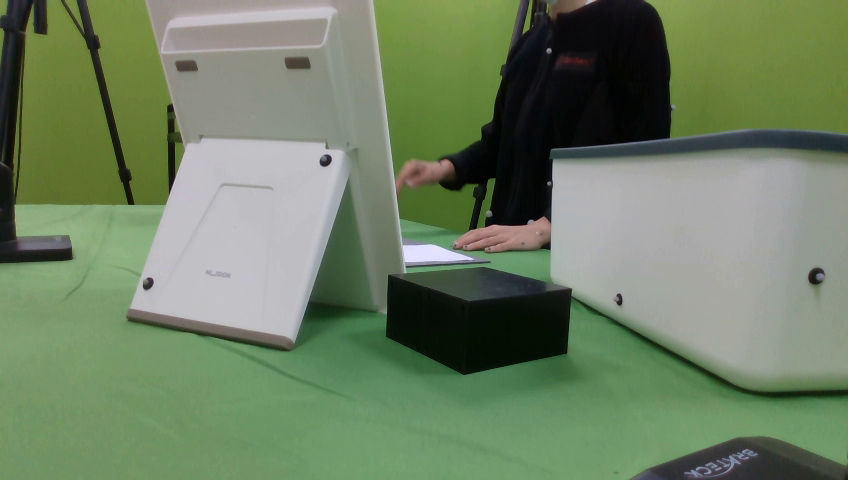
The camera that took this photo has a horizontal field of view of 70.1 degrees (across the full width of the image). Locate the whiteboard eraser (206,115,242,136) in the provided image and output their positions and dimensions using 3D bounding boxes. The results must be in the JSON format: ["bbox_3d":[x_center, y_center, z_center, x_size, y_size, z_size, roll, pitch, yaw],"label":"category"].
[{"bbox_3d":[-0.438,-0.249,1.320,0.056,0.042,0.112,-3,9,-30],"label":"whiteboard eraser"}]

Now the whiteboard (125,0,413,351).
[{"bbox_3d":[-0.151,-0.050,0.471,0.216,0.305,0.144,6,27,24],"label":"whiteboard"}]

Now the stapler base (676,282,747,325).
[{"bbox_3d":[0.283,0.056,0.584,0.041,0.024,0.131,32,19,33],"label":"stapler base"}]

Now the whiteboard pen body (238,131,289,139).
[{"bbox_3d":[-0.366,-0.240,1.381,0.140,0.017,0.017,6,8,24],"label":"whiteboard pen body"}]

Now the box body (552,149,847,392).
[{"bbox_3d":[0.290,0.002,0.549,0.255,0.160,0.363,2,7,-10],"label":"box body"}]

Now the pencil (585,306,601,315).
[{"bbox_3d":[0.250,0.055,0.656,0.195,0.012,0.012,-11,13,-27],"label":"pencil"}]

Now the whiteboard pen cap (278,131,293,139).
[{"bbox_3d":[-0.312,-0.236,1.357,0.033,0.018,0.018,6,8,22],"label":"whiteboard pen cap"}]

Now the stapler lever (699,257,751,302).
[{"bbox_3d":[0.291,0.035,0.580,0.026,0.040,0.119,32,21,33],"label":"stapler lever"}]

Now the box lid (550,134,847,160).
[{"bbox_3d":[0.294,-0.071,0.538,0.264,0.015,0.370,2,6,-10],"label":"box lid"}]
